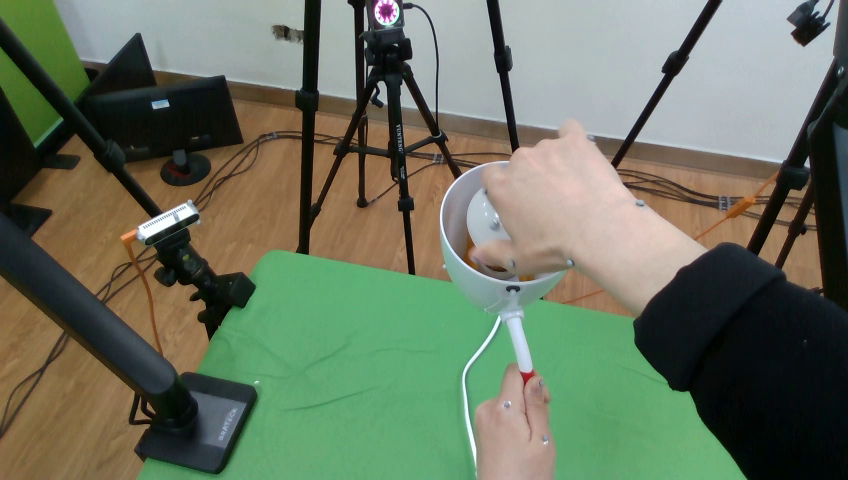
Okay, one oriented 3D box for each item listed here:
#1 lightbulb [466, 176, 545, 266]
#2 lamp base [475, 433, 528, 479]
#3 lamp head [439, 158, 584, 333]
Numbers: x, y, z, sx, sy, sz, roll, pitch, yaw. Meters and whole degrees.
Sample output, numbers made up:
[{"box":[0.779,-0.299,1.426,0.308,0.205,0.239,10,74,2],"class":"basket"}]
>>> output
[{"box":[0.061,-0.007,0.479,0.059,0.108,0.059,0,63,0],"class":"lightbulb"},{"box":[0.096,0.294,0.643,0.161,0.182,0.177,-22,51,-19],"class":"lamp base"},{"box":[0.066,0.013,0.504,0.112,0.124,0.111,1,55,0],"class":"lamp head"}]
